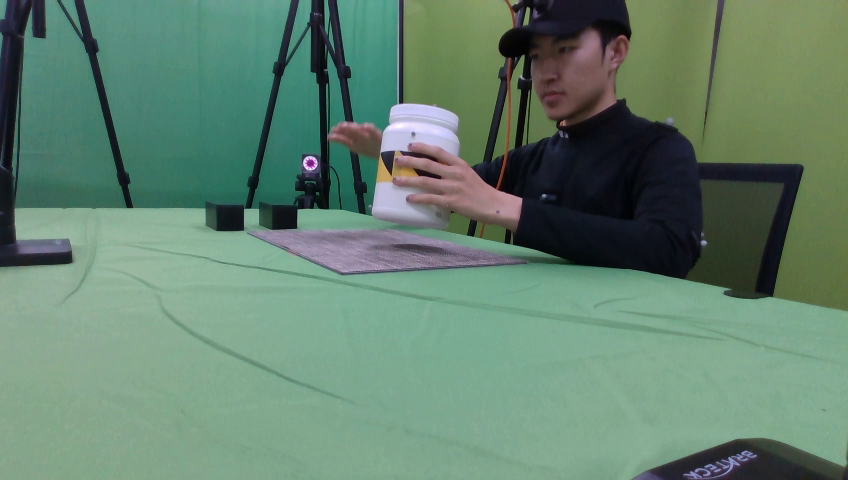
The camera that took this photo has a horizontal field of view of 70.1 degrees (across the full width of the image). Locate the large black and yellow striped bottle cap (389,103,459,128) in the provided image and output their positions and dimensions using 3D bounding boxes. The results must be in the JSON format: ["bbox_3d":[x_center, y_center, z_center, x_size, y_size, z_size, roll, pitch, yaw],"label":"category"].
[{"bbox_3d":[0.000,-0.203,0.999,0.115,0.019,0.115,7,-3,1],"label":"large black and yellow striped bottle cap"}]

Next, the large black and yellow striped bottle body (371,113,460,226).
[{"bbox_3d":[-0.011,-0.121,0.998,0.131,0.183,0.131,7,-2,1],"label":"large black and yellow striped bottle body"}]
